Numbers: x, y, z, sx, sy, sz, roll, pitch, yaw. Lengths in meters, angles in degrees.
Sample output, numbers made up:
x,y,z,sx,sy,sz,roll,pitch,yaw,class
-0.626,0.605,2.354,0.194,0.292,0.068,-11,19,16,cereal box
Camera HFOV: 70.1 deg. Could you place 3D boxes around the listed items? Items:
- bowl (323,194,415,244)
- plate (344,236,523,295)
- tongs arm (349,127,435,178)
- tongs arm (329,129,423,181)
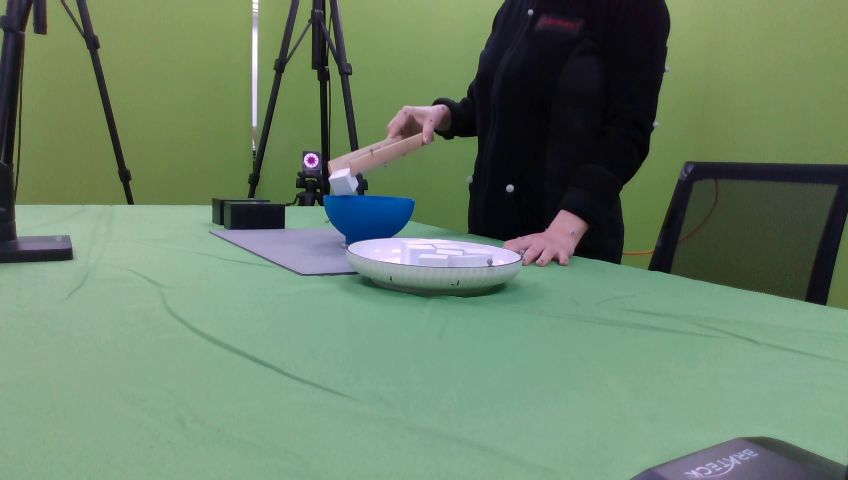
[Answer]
x,y,z,sx,sy,sz,roll,pitch,yaw,class
-0.091,-0.032,0.986,0.151,0.077,0.151,2,7,0,bowl
0.010,0.030,0.707,0.208,0.039,0.207,3,8,0,plate
-0.056,-0.166,1.108,0.050,0.026,0.386,-6,16,27,tongs arm
-0.077,-0.164,1.116,0.028,0.028,0.388,-11,14,24,tongs arm
